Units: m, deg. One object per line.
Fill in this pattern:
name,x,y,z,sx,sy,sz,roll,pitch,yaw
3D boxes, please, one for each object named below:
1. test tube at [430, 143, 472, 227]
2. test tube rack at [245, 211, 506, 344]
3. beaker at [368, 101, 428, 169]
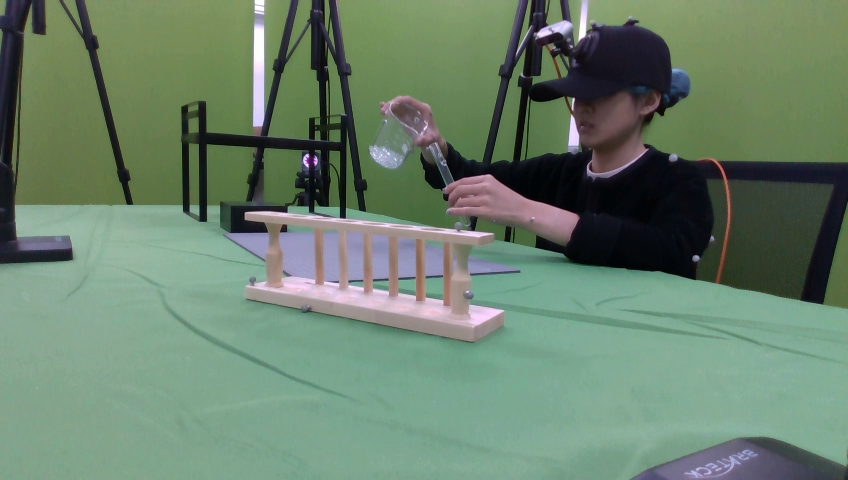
test tube,0.044,-0.090,0.984,0.017,0.150,0.017,-23,-8,-3
test tube rack,-0.049,0.025,0.547,0.241,0.085,0.067,7,8,28
beaker,-0.047,-0.179,1.062,0.074,0.100,0.083,-14,59,-47
